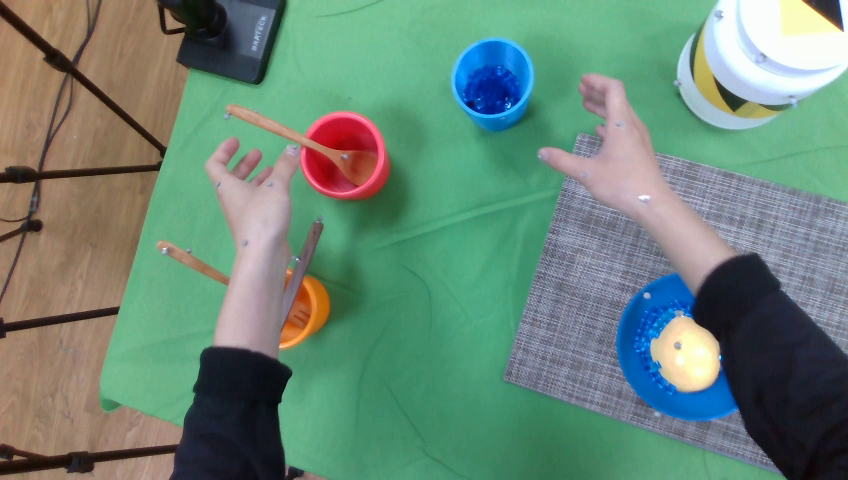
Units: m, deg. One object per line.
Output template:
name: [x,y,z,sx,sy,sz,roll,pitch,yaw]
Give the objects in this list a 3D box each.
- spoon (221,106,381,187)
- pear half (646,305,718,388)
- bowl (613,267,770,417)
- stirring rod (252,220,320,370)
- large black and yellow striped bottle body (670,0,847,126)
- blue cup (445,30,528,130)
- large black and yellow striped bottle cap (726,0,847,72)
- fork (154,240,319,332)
spoon: [-0.132,-0.107,0.680,0.195,0.021,0.041,22,93,-35]
pear half: [0.273,0.111,0.636,0.070,0.031,0.087,-10,81,4]
bowl: [0.272,0.104,0.643,0.151,0.077,0.151,0,87,8]
stirring rod: [-0.153,0.061,0.668,0.014,0.006,0.176,22,90,6]
large black and yellow striped bottle body: [0.332,-0.198,0.600,0.130,0.184,0.130,0,87,8]
blue cup: [0.072,-0.165,0.675,0.092,0.100,0.092,-1,85,8]
large black and yellow striped bottle cap: [0.321,-0.202,0.517,0.115,0.019,0.115,0,88,9]
fork: [-0.204,0.053,0.677,0.209,0.018,0.028,35,103,-35]
